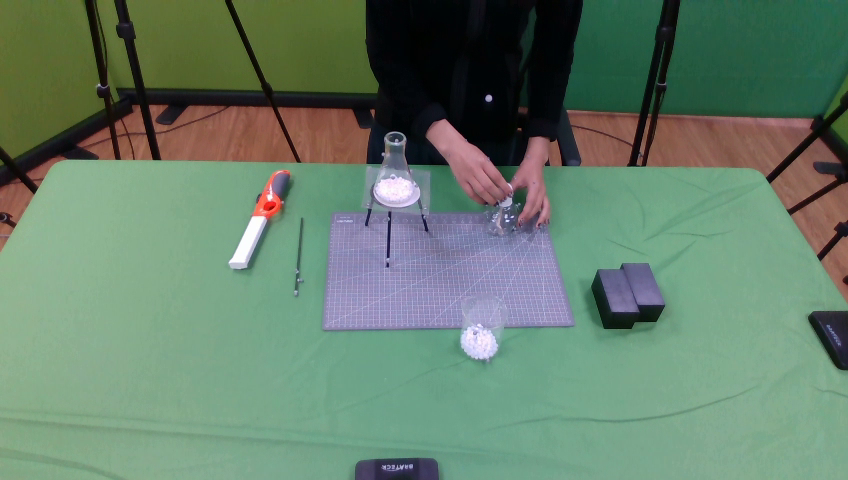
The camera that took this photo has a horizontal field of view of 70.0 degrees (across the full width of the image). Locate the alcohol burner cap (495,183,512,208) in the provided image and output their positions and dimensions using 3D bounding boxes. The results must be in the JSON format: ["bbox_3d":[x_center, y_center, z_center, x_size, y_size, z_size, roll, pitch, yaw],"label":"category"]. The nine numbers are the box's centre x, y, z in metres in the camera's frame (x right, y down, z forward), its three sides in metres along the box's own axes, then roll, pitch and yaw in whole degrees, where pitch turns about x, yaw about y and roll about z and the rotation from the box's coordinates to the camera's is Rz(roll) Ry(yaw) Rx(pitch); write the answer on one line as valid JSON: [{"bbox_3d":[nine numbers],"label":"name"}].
[{"bbox_3d":[0.157,-0.090,1.181,0.034,0.048,0.033,2,43,-1],"label":"alcohol burner cap"}]

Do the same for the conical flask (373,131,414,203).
[{"bbox_3d":[-0.053,-0.131,1.067,0.075,0.122,0.075,2,44,-2],"label":"conical flask"}]

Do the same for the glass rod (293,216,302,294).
[{"bbox_3d":[-0.242,0.024,1.166,0.008,0.008,0.198,-2,47,-5],"label":"glass rod"}]

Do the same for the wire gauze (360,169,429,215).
[{"bbox_3d":[-0.052,-0.092,1.111,0.125,0.011,0.120,3,43,1],"label":"wire gauze"}]

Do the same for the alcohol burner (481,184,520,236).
[{"bbox_3d":[0.155,-0.065,1.209,0.078,0.119,0.077,3,44,-3],"label":"alcohol burner"}]

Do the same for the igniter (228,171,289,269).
[{"bbox_3d":[-0.328,-0.049,1.218,0.057,0.025,0.275,1,45,11],"label":"igniter"}]

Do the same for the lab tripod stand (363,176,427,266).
[{"bbox_3d":[-0.058,-0.047,1.159,0.148,0.132,0.147,3,44,-2],"label":"lab tripod stand"}]

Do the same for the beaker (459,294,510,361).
[{"bbox_3d":[0.095,0.147,1.012,0.083,0.101,0.074,26,49,21],"label":"beaker"}]
